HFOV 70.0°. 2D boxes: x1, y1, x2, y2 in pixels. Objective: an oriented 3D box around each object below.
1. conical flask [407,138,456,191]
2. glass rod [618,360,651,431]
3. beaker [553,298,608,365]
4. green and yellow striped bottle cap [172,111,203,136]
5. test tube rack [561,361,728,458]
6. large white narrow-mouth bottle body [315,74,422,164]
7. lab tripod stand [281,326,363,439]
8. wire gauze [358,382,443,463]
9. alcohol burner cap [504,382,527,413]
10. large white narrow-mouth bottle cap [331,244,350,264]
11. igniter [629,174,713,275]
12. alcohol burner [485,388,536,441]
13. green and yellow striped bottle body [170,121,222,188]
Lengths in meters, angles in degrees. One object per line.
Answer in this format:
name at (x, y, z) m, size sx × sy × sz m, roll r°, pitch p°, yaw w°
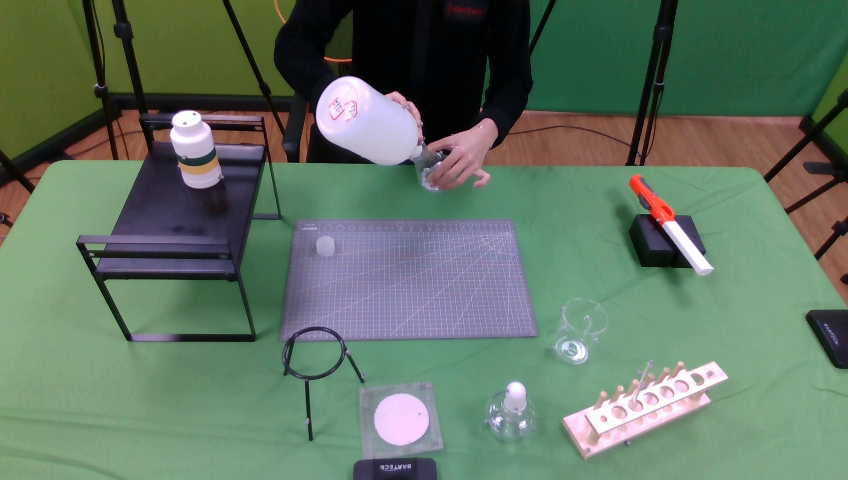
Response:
conical flask at (0.005, -0.138, 1.070) m, size 0.075 × 0.122 × 0.075 m, roll -5°, pitch 75°, yaw 19°
glass rod at (0.298, 0.227, 0.865) m, size 0.008 × 0.201 × 0.008 m, roll -1°, pitch 47°, yaw 2°
beaker at (0.260, 0.154, 1.014) m, size 0.073 × 0.101 × 0.084 m, roll 37°, pitch 54°, yaw 27°
green and yellow striped bottle cap at (-0.374, -0.185, 0.957) m, size 0.045 × 0.020 × 0.045 m, roll 3°, pitch 45°, yaw -3°
test tube rack at (0.341, 0.248, 0.940) m, size 0.243 × 0.085 × 0.066 m, roll -15°, pitch 49°, yaw -18°
large white narrow-mouth bottle body at (-0.070, -0.172, 0.937) m, size 0.195 × 0.102 × 0.101 m, roll 22°, pitch 23°, yaw -52°
lab tripod stand at (-0.166, 0.203, 0.913) m, size 0.148 × 0.132 × 0.147 m, roll 1°, pitch 47°, yaw -1°
wire gauze at (-0.039, 0.277, 0.937) m, size 0.121 × 0.011 × 0.124 m, roll -4°, pitch 47°, yaw -7°
alcohol burner cap at (0.132, 0.225, 0.877) m, size 0.034 × 0.048 × 0.033 m, roll -4°, pitch 47°, yaw 5°
large white narrow-mouth bottle cap at (-0.160, 0.026, 1.161) m, size 0.038 × 0.024 × 0.037 m, roll 4°, pitch 46°, yaw -4°
igniter at (0.481, -0.040, 1.202) m, size 0.057 × 0.025 × 0.274 m, roll -2°, pitch 46°, yaw -21°
alcohol burner at (0.131, 0.249, 0.904) m, size 0.078 × 0.120 × 0.077 m, roll 1°, pitch 48°, yaw -1°
green and yellow striped bottle body at (-0.375, -0.149, 0.995) m, size 0.063 × 0.120 × 0.063 m, roll 2°, pitch 46°, yaw -2°
